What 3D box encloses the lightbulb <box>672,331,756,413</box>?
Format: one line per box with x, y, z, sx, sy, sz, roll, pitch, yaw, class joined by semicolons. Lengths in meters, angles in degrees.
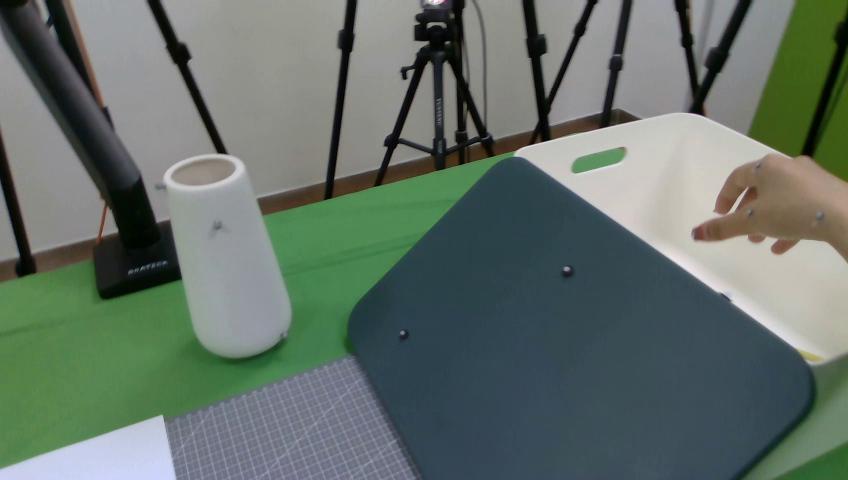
0.260;0.115;0.559;0.059;0.060;0.107;-2;19;-1;lightbulb

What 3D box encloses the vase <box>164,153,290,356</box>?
-0.193;0.018;0.594;0.098;0.201;0.097;-2;34;2;vase

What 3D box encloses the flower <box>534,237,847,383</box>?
0.283;0.078;0.647;0.359;0.038;0.044;25;38;26;flower

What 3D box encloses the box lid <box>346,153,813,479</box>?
0.080;0.087;0.508;0.263;0.015;0.367;-46;41;4;box lid

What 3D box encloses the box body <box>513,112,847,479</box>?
0.277;0.026;0.601;0.255;0.162;0.360;-16;37;-19;box body
